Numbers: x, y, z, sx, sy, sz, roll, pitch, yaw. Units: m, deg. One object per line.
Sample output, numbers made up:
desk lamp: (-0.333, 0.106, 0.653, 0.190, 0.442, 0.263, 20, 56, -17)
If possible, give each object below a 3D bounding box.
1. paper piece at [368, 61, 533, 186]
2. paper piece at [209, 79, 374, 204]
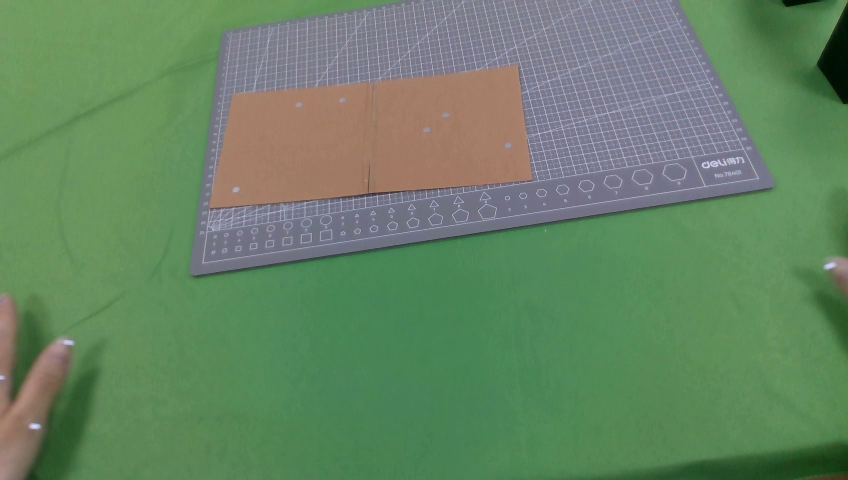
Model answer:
paper piece: (0.020, -0.102, 0.521, 0.135, 0.004, 0.134, -4, 56, 5)
paper piece: (-0.112, -0.091, 0.533, 0.138, 0.009, 0.134, -4, 53, 6)
